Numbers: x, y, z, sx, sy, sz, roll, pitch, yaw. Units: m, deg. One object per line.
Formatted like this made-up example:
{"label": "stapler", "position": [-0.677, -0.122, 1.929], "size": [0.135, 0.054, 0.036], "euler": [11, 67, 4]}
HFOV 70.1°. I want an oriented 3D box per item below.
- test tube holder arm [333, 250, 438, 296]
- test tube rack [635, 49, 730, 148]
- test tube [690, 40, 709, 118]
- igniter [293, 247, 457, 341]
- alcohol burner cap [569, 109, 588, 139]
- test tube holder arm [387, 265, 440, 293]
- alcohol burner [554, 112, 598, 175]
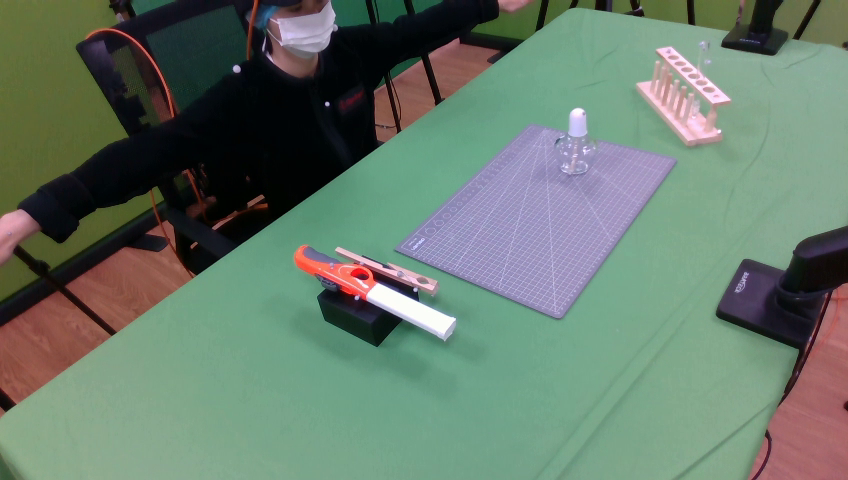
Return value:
{"label": "test tube holder arm", "position": [-0.059, 0.046, 0.859], "size": [0.177, 0.015, 0.013], "euler": [17, 49, 26]}
{"label": "test tube rack", "position": [0.497, -0.283, 1.185], "size": [0.067, 0.085, 0.240], "euler": [-10, 40, -2]}
{"label": "test tube", "position": [0.510, -0.295, 1.120], "size": [0.017, 0.151, 0.017], "euler": [-6, 39, 6]}
{"label": "igniter", "position": [-0.077, 0.068, 0.830], "size": [0.274, 0.025, 0.057], "euler": [22, 48, 27]}
{"label": "alcohol burner cap", "position": [0.266, -0.203, 1.044], "size": [0.034, 0.048, 0.033], "euler": [-7, 36, 5]}
{"label": "test tube holder arm", "position": [-0.017, 0.054, 0.843], "size": [0.087, 0.015, 0.010], "euler": [18, 49, 27]}
{"label": "alcohol burner", "position": [0.270, -0.175, 1.066], "size": [0.078, 0.119, 0.077], "euler": [-4, 42, 4]}
